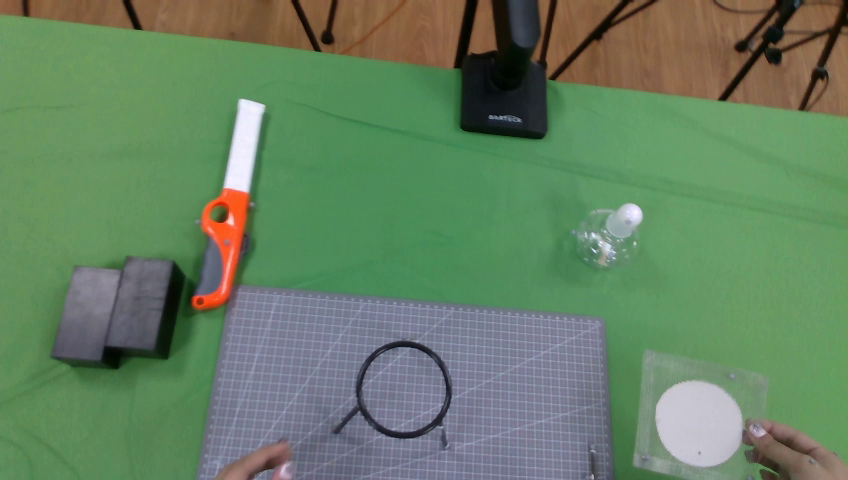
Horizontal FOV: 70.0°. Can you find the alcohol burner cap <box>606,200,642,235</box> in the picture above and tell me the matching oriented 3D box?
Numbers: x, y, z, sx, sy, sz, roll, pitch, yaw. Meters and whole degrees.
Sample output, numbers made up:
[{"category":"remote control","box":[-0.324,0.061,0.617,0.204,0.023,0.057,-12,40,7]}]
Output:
[{"category":"alcohol burner cap","box":[0.235,-0.028,0.701,0.034,0.048,0.033,1,73,-4]}]

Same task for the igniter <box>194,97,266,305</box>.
[{"category":"igniter","box":[-0.231,-0.052,0.734,0.057,0.025,0.274,13,67,-19]}]

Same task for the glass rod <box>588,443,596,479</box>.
[{"category":"glass rod","box":[0.184,0.322,0.651,0.008,0.008,0.198,5,68,-6]}]

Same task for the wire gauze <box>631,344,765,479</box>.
[{"category":"wire gauze","box":[0.280,0.178,0.622,0.125,0.011,0.121,11,77,10]}]

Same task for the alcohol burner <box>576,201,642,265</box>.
[{"category":"alcohol burner","box":[0.230,-0.015,0.735,0.078,0.120,0.077,3,66,-6]}]

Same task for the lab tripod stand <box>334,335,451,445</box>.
[{"category":"lab tripod stand","box":[-0.026,0.155,0.621,0.148,0.132,0.147,2,67,-5]}]
